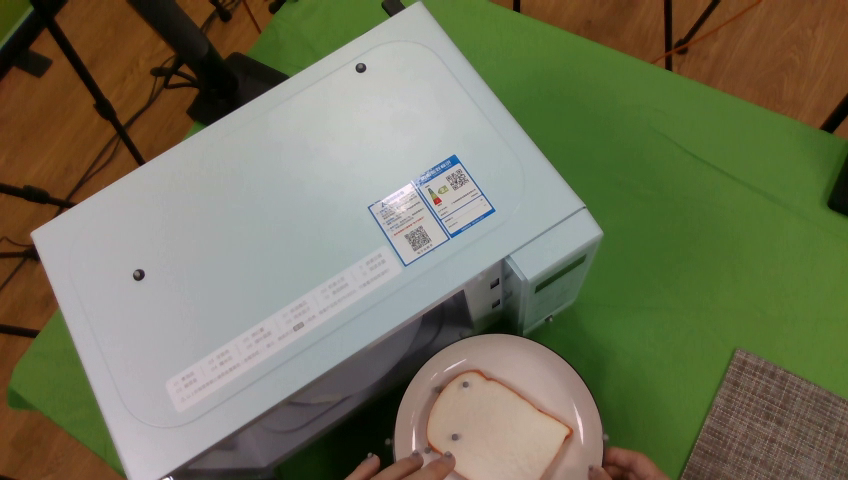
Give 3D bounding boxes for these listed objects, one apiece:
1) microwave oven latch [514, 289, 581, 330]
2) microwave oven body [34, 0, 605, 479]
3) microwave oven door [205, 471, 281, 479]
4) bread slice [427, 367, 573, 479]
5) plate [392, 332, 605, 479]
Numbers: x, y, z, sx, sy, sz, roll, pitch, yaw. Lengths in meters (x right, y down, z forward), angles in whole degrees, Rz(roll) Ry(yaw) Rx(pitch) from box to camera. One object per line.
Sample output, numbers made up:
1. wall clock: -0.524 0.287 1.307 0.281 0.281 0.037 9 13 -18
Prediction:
1. microwave oven latch: 0.143 0.072 0.706 0.079 0.030 0.030 -31 70 -3
2. microwave oven body: -0.097 0.020 0.652 0.442 0.262 0.323 -33 70 -4
3. microwave oven door: -0.041 0.286 0.546 0.355 0.245 0.039 15 73 12
4. bread slice: 0.068 0.195 0.613 0.131 0.019 0.104 32 78 15
5. plate: 0.073 0.199 0.611 0.207 0.039 0.206 -2 72 6
